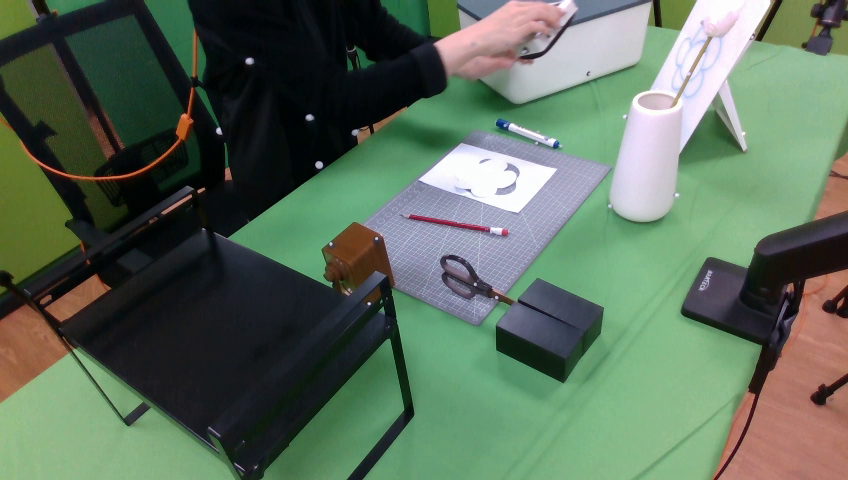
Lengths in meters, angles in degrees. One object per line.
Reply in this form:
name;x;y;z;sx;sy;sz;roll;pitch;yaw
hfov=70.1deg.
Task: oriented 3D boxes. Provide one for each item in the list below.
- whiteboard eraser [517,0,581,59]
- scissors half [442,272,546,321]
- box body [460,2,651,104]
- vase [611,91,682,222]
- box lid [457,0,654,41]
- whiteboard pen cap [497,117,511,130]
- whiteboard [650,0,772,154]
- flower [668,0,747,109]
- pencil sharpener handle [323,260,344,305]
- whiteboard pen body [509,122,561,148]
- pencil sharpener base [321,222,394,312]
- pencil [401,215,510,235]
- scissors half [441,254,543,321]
whiteboard eraser;0.199;-0.331;0.953;0.055;0.042;0.113;5;52;52
scissors half;0.094;0.081;0.837;0.173;0.040;0.013;19;45;39
box body;0.291;-0.465;1.371;0.365;0.161;0.252;-22;42;-16
vase;0.348;-0.125;0.935;0.098;0.201;0.097;-3;40;3
box lid;0.285;-0.522;1.323;0.373;0.015;0.261;-22;43;-16
whiteboard pen cap;0.165;-0.235;1.226;0.033;0.018;0.018;31;53;31
whiteboard;0.543;-0.298;1.076;0.144;0.305;0.216;12;40;-7
flower;0.354;-0.187;0.879;0.038;0.362;0.044;31;48;14
pencil sharpener handle;-0.131;0.062;0.839;0.035;0.068;0.031;29;55;28
whiteboard pen body;0.209;-0.212;1.195;0.139;0.017;0.017;30;53;33
pencil sharpener base;-0.096;0.041;0.873;0.061;0.107;0.077;25;54;32
pencil;0.049;-0.027;1.007;0.193;0.012;0.012;10;43;21
scissors half;0.092;0.065;0.825;0.174;0.040;0.013;32;57;25
